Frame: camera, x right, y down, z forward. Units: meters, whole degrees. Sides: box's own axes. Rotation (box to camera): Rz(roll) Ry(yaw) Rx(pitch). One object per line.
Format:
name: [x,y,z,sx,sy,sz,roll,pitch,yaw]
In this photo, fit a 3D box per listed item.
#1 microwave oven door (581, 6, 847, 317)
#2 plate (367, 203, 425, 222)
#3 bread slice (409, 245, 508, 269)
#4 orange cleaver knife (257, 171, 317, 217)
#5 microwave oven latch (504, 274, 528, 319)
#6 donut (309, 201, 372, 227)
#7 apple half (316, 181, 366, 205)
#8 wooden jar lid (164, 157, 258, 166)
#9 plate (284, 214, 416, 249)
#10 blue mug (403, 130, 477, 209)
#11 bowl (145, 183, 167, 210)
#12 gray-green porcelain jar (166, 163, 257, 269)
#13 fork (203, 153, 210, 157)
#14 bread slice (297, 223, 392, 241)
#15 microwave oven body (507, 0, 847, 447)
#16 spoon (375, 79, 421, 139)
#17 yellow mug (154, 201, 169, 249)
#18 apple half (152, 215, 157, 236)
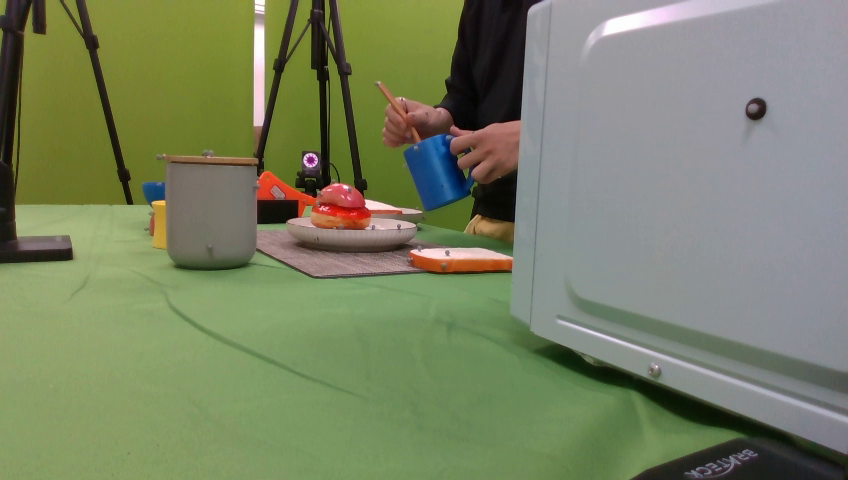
microwave oven door: [0.295,-0.067,0.569,0.358,0.243,0.039,-3,8,-31]
plate: [-0.102,-0.053,1.299,0.209,0.038,0.209,2,8,0]
bread slice: [0.048,0.021,0.816,0.132,0.019,0.104,-1,7,-24]
orange cleaver knife: [-0.283,-0.087,1.343,0.212,0.077,0.012,24,-16,-41]
microwave oven latch: [0.100,0.041,0.470,0.079,0.029,0.030,-1,7,-27]
donut: [-0.132,-0.042,0.959,0.099,0.048,0.099,3,8,0]
apple half: [-0.128,-0.077,0.954,0.081,0.033,0.081,6,13,-1]
wooden jar lid: [-0.261,-0.093,0.746,0.108,0.020,0.108,0,9,0]
plate: [-0.116,-0.014,0.967,0.208,0.039,0.207,2,8,0]
blue mug: [0.035,-0.119,0.976,0.116,0.106,0.083,-23,-2,36]
bowl: [-0.459,-0.069,1.175,0.151,0.077,0.151,2,7,0]
gray-green porcelain jar: [-0.263,-0.031,0.754,0.106,0.126,0.106,2,7,0]
fork: [-0.480,-0.135,1.411,0.028,0.018,0.207,1,-34,0]
bread slice: [-0.120,-0.014,0.970,0.106,0.018,0.135,9,10,41]
microwave oven body: [0.331,-0.042,0.425,0.444,0.260,0.324,-2,8,-31]
spoon: [-0.020,-0.181,0.976,0.021,0.193,0.042,-32,-1,40]
yellow mug: [-0.337,-0.022,0.899,0.130,0.064,0.100,8,9,34]
apple half: [-0.415,-0.034,1.017,0.081,0.053,0.074,1,10,-8]
